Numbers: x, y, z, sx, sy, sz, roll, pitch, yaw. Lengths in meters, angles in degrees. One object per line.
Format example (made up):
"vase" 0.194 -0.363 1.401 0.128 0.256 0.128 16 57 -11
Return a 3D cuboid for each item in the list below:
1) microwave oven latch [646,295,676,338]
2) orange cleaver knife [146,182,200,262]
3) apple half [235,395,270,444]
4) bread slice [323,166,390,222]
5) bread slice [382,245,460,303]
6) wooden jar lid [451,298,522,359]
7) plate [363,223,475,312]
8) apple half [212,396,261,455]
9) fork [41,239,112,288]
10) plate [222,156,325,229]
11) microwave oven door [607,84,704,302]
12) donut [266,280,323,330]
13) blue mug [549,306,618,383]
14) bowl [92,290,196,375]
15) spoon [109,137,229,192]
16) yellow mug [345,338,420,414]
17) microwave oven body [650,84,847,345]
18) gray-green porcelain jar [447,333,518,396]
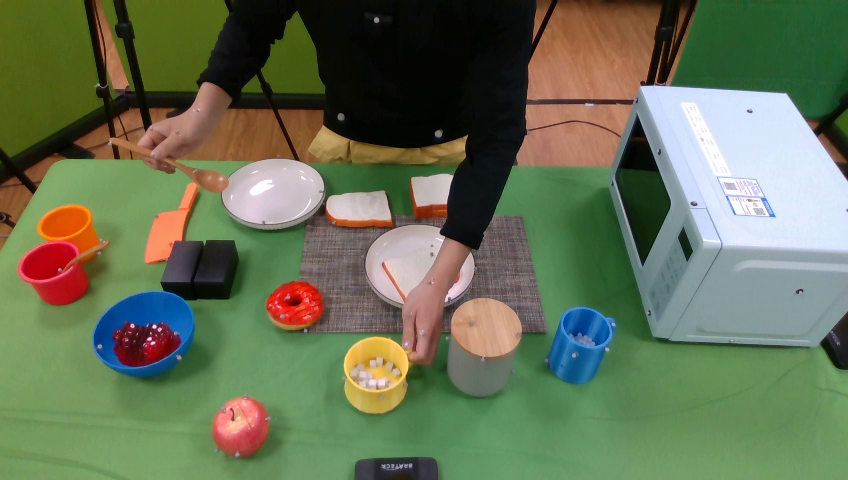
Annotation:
"microwave oven latch" 0.413 0.133 1.060 0.030 0.029 0.078 4 46 1
"orange cleaver knife" -0.494 -0.039 1.199 0.077 0.012 0.210 -3 48 2
"apple half" -0.245 0.259 0.892 0.033 0.082 0.081 -29 55 -21
"bread slice" -0.140 -0.092 1.224 0.134 0.018 0.106 -19 51 6
"bread slice" 0.000 0.054 1.129 0.131 0.019 0.104 -20 51 -21
"wooden jar lid" 0.093 0.135 0.914 0.108 0.021 0.107 2 48 -3
"plate" -0.009 0.054 1.126 0.208 0.039 0.206 2 46 -2
"apple half" -0.276 0.276 0.877 0.053 0.075 0.080 -29 58 -21
"fork" -0.591 0.040 1.028 0.207 0.019 0.028 -27 37 29
"plate" -0.308 -0.095 1.251 0.209 0.038 0.208 3 46 -3
"microwave oven door" 0.423 -0.096 1.138 0.039 0.245 0.353 3 47 -1
"donut" -0.223 0.112 1.051 0.099 0.048 0.098 2 46 -2
"blue mug" 0.269 0.167 0.997 0.116 0.106 0.082 -19 50 -21
"bowl" -0.436 0.161 0.971 0.151 0.077 0.150 2 46 -2
"spoon" -0.422 -0.130 1.012 0.195 0.021 0.041 26 61 -30
"yellow mug" -0.061 0.206 0.954 0.131 0.064 0.099 -23 52 -27
"microwave oven body" 0.569 -0.054 1.116 0.326 0.261 0.439 2 46 -1
"gray-green porcelain jar" 0.091 0.178 0.960 0.106 0.127 0.105 2 46 -2
